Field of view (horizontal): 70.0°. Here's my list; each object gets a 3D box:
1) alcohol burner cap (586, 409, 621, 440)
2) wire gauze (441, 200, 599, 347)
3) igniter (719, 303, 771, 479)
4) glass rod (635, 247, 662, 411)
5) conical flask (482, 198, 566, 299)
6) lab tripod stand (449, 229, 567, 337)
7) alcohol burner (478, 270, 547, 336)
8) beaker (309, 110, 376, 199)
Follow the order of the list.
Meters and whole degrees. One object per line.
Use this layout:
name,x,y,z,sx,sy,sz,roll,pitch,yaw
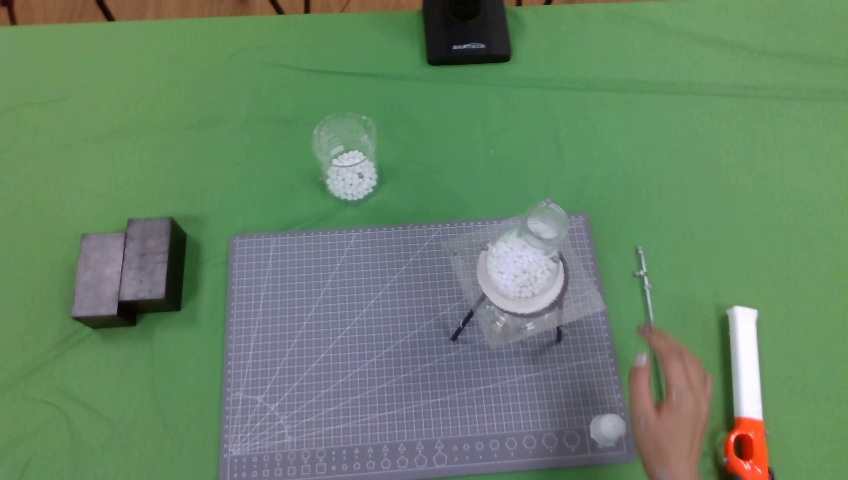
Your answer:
alcohol burner cap,0.198,0.199,0.659,0.034,0.048,0.033,1,69,-1
wire gauze,0.095,0.031,0.601,0.125,0.011,0.120,-19,73,-11
igniter,0.354,0.205,0.673,0.057,0.025,0.274,12,68,-8
glass rod,0.266,0.101,0.721,0.008,0.008,0.198,1,68,-2
conical flask,0.096,0.004,0.548,0.075,0.122,0.075,1,70,-2
lab tripod stand,0.094,0.057,0.662,0.148,0.132,0.147,1,70,-1
alcohol burner,0.101,0.065,0.670,0.078,0.120,0.077,1,68,-3
beaker,-0.094,-0.101,0.740,0.073,0.101,0.084,43,73,14
